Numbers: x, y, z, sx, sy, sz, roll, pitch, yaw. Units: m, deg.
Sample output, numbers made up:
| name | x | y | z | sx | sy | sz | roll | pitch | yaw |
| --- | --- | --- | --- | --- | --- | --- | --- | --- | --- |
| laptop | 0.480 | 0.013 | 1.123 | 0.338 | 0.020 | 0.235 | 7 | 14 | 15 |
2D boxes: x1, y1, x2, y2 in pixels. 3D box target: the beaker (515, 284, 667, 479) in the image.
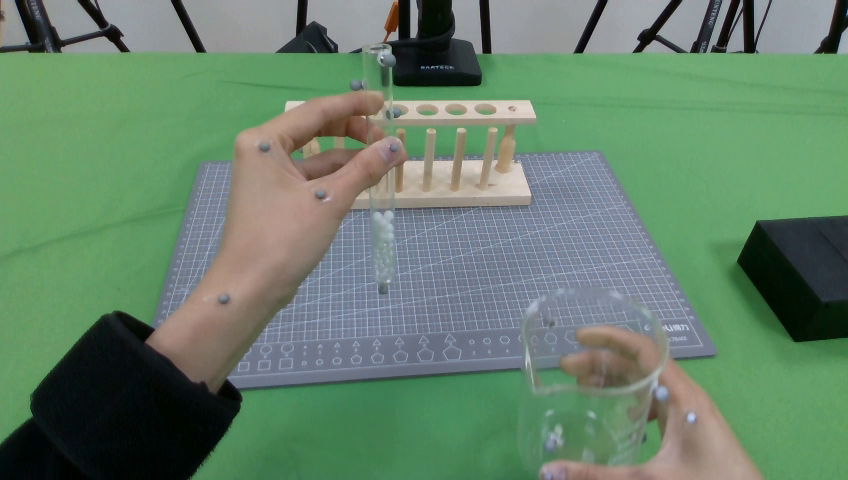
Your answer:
| name | x | y | z | sx | sy | sz | roll | pitch | yaw |
| --- | --- | --- | --- | --- | --- | --- | --- | --- | --- |
| beaker | 0.086 | 0.088 | 0.339 | 0.084 | 0.101 | 0.073 | -30 | 44 | -31 |

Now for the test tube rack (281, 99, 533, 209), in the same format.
| name | x | y | z | sx | sy | sz | roll | pitch | yaw |
| --- | --- | --- | --- | --- | --- | --- | --- | --- | --- |
| test tube rack | -0.016 | -0.087 | 0.606 | 0.243 | 0.086 | 0.066 | -2 | 42 | -5 |

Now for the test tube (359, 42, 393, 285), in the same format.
| name | x | y | z | sx | sy | sz | roll | pitch | yaw |
| --- | --- | --- | --- | --- | --- | --- | --- | --- | --- |
| test tube | -0.026 | -0.037 | 0.351 | 0.017 | 0.151 | 0.017 | 1 | 32 | 0 |
